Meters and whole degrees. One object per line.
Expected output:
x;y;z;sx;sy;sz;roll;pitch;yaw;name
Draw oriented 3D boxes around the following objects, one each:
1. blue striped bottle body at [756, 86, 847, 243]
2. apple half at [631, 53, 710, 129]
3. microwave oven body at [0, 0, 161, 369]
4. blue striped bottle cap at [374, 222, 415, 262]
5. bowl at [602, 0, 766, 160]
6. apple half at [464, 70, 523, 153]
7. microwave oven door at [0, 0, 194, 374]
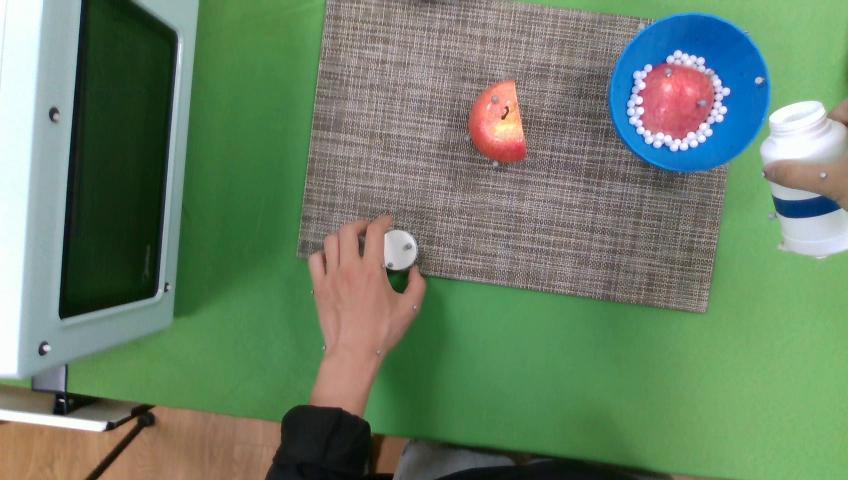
0.314;-0.063;0.498;0.063;0.062;0.122;-26;113;4;blue striped bottle body
0.248;-0.150;0.602;0.081;0.033;0.081;0;92;3;apple half
-0.423;-0.139;0.546;0.326;0.260;0.442;5;94;2;microwave oven body
-0.032;0.002;0.659;0.044;0.020;0.044;0;94;0;blue striped bottle cap
0.247;-0.151;0.607;0.151;0.077;0.151;0;93;3;bowl
0.068;-0.127;0.619;0.053;0.074;0.081;-12;96;7;apple half
-0.281;-0.083;0.538;0.039;0.243;0.356;5;93;3;microwave oven door
